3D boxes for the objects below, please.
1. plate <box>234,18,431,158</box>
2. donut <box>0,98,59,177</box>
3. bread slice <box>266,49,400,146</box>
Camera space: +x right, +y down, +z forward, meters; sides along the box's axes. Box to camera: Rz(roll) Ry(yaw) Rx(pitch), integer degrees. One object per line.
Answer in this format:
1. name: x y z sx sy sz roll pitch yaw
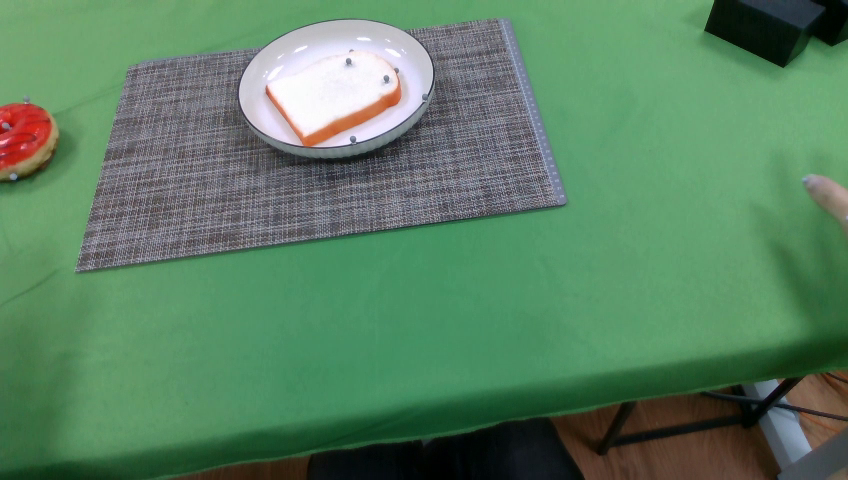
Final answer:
1. plate: -0.095 -0.160 0.650 0.207 0.039 0.205 -2 54 2
2. donut: -0.437 -0.109 0.636 0.099 0.049 0.098 -3 55 4
3. bread slice: -0.094 -0.163 0.654 0.131 0.019 0.104 -29 58 -16
